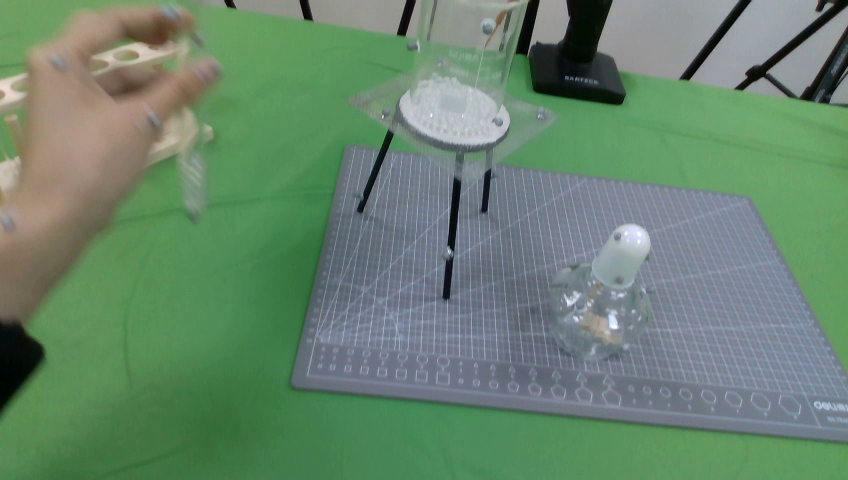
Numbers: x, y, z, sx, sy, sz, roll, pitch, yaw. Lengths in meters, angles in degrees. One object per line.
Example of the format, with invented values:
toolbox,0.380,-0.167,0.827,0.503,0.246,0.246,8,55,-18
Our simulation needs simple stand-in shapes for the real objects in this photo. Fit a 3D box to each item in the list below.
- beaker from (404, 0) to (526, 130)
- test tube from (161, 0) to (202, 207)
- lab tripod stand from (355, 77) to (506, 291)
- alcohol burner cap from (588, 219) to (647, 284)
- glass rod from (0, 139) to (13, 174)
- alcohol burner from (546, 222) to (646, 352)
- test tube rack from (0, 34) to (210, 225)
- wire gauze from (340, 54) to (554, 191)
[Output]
beaker,0.023,-0.137,0.429,0.084,0.101,0.073,3,45,-8
test tube,-0.136,-0.081,0.341,0.017,0.151,0.017,9,37,-6
lab tripod stand,0.013,-0.053,0.507,0.149,0.132,0.147,7,44,-7
alcohol burner cap,0.141,0.006,0.434,0.034,0.048,0.033,5,48,-5
glass rod,-0.352,-0.137,0.464,0.008,0.201,0.008,3,37,-2
alcohol burner,0.136,0.031,0.460,0.078,0.120,0.077,7,42,-6
test tube rack,-0.313,-0.096,0.525,0.066,0.086,0.242,35,48,23
wire gauze,0.019,-0.100,0.462,0.124,0.011,0.121,38,52,20
